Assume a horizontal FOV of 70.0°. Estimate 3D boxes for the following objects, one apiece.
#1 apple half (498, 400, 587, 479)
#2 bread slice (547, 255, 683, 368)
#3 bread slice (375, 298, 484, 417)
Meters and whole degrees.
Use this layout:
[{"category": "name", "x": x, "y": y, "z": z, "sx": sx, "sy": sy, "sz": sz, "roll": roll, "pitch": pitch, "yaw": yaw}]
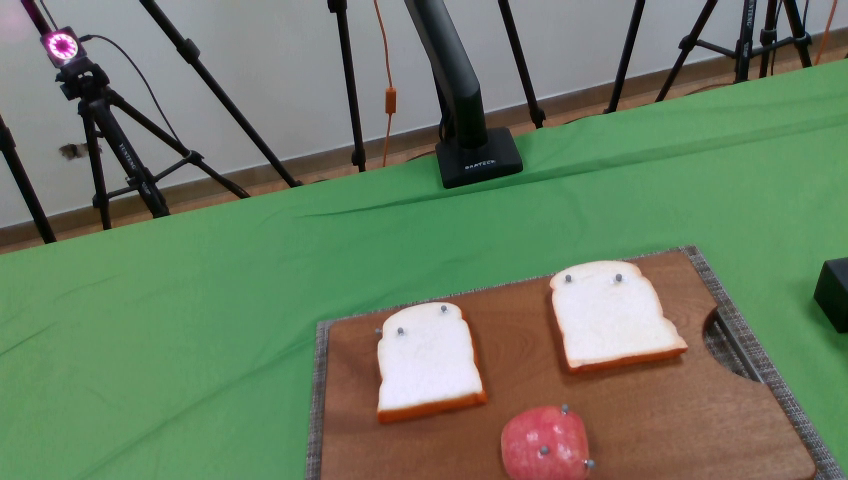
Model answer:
[{"category": "apple half", "x": 0.099, "y": 0.163, "z": 0.509, "sx": 0.081, "sy": 0.033, "sz": 0.080, "roll": -7, "pitch": 42, "yaw": 6}, {"category": "bread slice", "x": 0.177, "y": 0.066, "z": 0.605, "sx": 0.107, "sy": 0.018, "sz": 0.133, "roll": -13, "pitch": 39, "yaw": 2}, {"category": "bread slice", "x": -0.002, "y": 0.112, "z": 0.612, "sx": 0.105, "sy": 0.019, "sz": 0.130, "roll": -12, "pitch": 41, "yaw": 2}]
